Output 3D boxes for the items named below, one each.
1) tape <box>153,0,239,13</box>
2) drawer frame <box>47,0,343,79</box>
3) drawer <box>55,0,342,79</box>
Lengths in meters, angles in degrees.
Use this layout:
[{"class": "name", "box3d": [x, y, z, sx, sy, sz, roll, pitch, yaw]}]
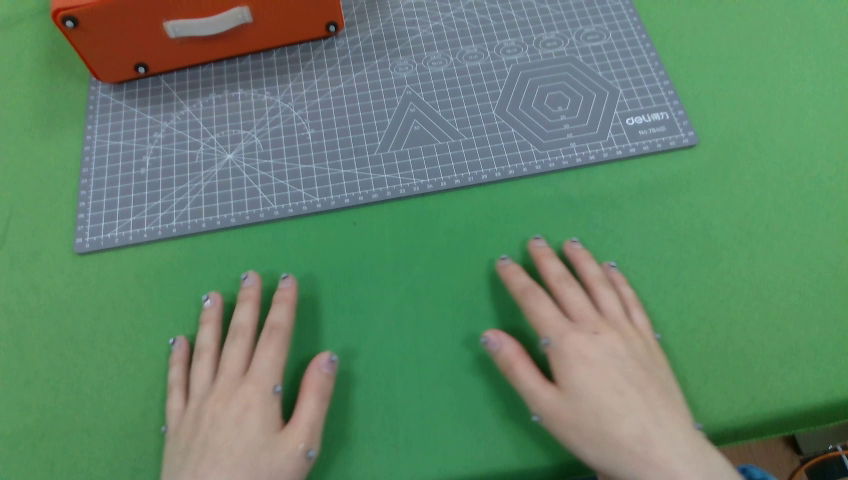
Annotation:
[{"class": "tape", "box3d": [-0.189, -0.251, 0.507, 0.117, 0.053, 0.116, 0, 64, 1]}, {"class": "drawer frame", "box3d": [-0.189, -0.252, 0.500, 0.202, 0.083, 0.211, -15, 63, -5]}, {"class": "drawer", "box3d": [-0.187, -0.249, 0.499, 0.195, 0.074, 0.209, -15, 63, -5]}]
